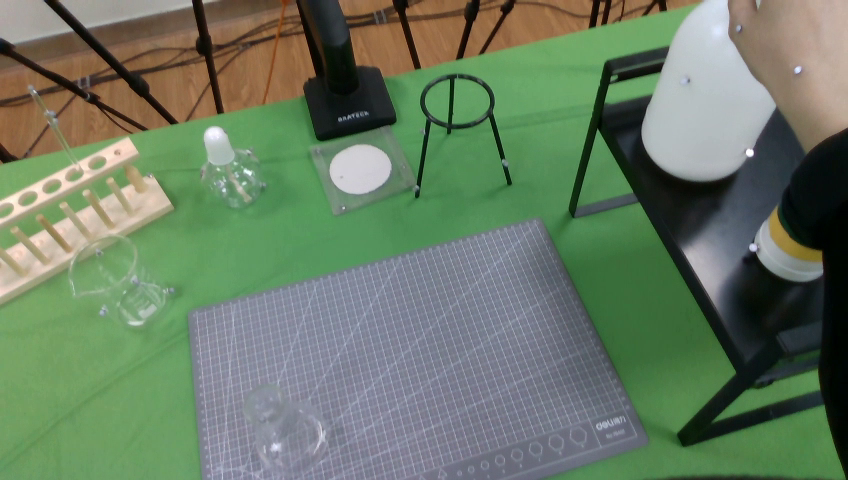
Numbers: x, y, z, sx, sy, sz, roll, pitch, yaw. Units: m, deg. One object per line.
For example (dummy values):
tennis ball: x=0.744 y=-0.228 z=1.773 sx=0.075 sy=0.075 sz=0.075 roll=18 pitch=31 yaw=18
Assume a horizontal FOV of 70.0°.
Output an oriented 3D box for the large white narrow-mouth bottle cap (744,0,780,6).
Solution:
large white narrow-mouth bottle cap: x=0.254 y=-0.195 z=0.453 sx=0.038 sy=0.024 sz=0.037 roll=-2 pitch=56 yaw=3

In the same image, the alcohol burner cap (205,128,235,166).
alcohol burner cap: x=-0.255 y=-0.118 z=0.749 sx=0.034 sy=0.048 sz=0.033 roll=4 pitch=54 yaw=-5

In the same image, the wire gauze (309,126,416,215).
wire gauze: x=-0.086 y=-0.102 z=0.836 sx=0.121 sy=0.011 sz=0.124 roll=-19 pitch=58 yaw=-10

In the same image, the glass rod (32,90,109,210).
glass rod: x=-0.418 y=-0.100 z=0.726 sx=0.008 sy=0.201 sz=0.008 roll=1 pitch=54 yaw=-1

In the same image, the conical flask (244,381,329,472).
conical flask: x=-0.140 y=0.175 z=0.590 sx=0.075 sy=0.123 sz=0.074 roll=-1 pitch=57 yaw=2

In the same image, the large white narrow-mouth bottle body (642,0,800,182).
large white narrow-mouth bottle body: x=0.259 y=-0.145 z=0.524 sx=0.102 sy=0.196 sz=0.101 roll=-2 pitch=56 yaw=3

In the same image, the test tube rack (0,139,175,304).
test tube rack: x=-0.451 y=-0.023 z=0.758 sx=0.242 sy=0.086 sz=0.066 roll=-33 pitch=62 yaw=-17

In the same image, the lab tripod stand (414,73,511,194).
lab tripod stand: x=0.046 y=-0.134 z=0.776 sx=0.148 sy=0.132 sz=0.147 roll=0 pitch=56 yaw=1

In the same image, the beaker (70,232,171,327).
beaker: x=-0.345 y=0.052 z=0.696 sx=0.073 sy=0.101 sz=0.083 roll=26 pitch=62 yaw=19

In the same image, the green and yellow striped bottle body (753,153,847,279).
green and yellow striped bottle body: x=0.320 y=-0.023 z=0.486 sx=0.063 sy=0.121 sz=0.062 roll=-1 pitch=57 yaw=3

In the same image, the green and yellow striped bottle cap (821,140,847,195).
green and yellow striped bottle cap: x=0.319 y=-0.052 z=0.442 sx=0.045 sy=0.020 sz=0.045 roll=-2 pitch=58 yaw=3

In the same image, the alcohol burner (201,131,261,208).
alcohol burner: x=-0.253 y=-0.097 z=0.779 sx=0.078 sy=0.120 sz=0.077 roll=-1 pitch=55 yaw=2
